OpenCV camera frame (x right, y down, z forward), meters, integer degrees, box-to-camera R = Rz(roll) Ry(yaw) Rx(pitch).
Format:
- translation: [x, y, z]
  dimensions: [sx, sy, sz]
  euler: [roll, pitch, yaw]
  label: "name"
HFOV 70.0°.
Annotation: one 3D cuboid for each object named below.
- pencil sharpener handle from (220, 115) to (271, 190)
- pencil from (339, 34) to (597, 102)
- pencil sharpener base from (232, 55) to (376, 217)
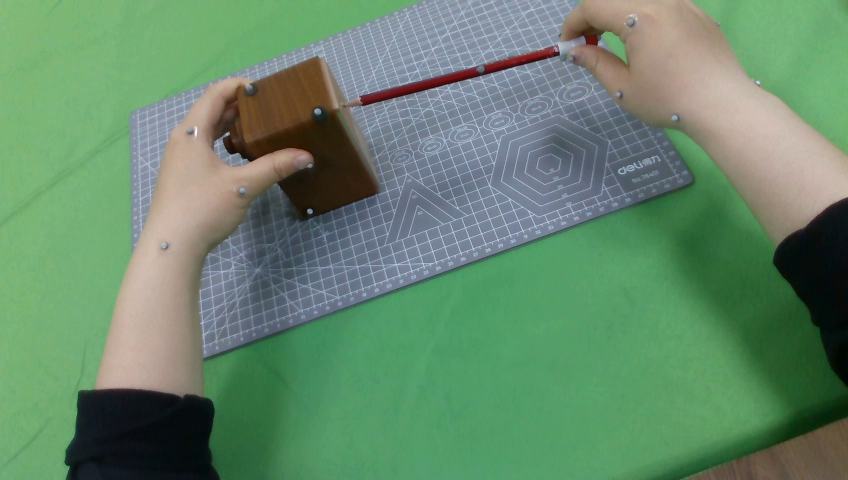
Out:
- translation: [-0.142, -0.063, 0.466]
  dimensions: [0.030, 0.068, 0.035]
  euler: [-21, 58, 3]
  label: "pencil sharpener handle"
- translation: [0.029, -0.124, 0.443]
  dimensions: [0.194, 0.012, 0.012]
  euler: [-12, 59, 6]
  label: "pencil"
- translation: [-0.092, -0.076, 0.474]
  dimensions: [0.076, 0.108, 0.060]
  euler: [-21, 58, 3]
  label: "pencil sharpener base"
